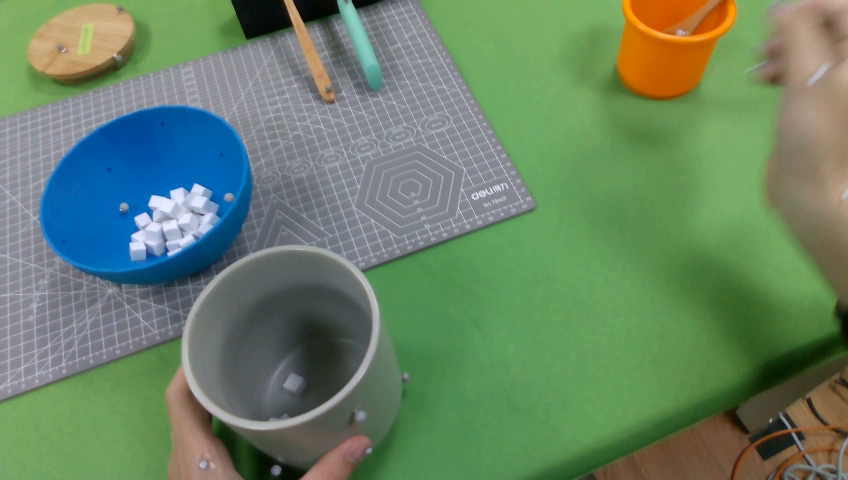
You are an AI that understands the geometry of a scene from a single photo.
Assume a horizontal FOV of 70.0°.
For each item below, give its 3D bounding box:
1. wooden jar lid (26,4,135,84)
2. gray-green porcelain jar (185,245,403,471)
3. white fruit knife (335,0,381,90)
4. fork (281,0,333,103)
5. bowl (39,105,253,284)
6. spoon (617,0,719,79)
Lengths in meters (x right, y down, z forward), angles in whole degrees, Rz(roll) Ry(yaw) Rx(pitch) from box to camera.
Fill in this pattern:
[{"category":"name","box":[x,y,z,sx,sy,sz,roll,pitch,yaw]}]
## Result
[{"category":"wooden jar lid","box":[-0.351,-0.201,0.625,0.108,0.021,0.107,-1,59,2]},{"category":"gray-green porcelain jar","box":[-0.069,0.079,0.371,0.106,0.127,0.105,-2,58,4]},{"category":"white fruit knife","box":[-0.083,-0.237,0.588,0.016,0.027,0.206,-20,73,-9]},{"category":"fork","box":[-0.130,-0.222,0.581,0.028,0.019,0.206,-22,78,-14]},{"category":"bowl","box":[-0.198,-0.022,0.467,0.151,0.077,0.150,-2,59,4]},{"category":"spoon","box":[0.246,-0.202,0.501,0.022,0.194,0.041,11,52,-42]}]
